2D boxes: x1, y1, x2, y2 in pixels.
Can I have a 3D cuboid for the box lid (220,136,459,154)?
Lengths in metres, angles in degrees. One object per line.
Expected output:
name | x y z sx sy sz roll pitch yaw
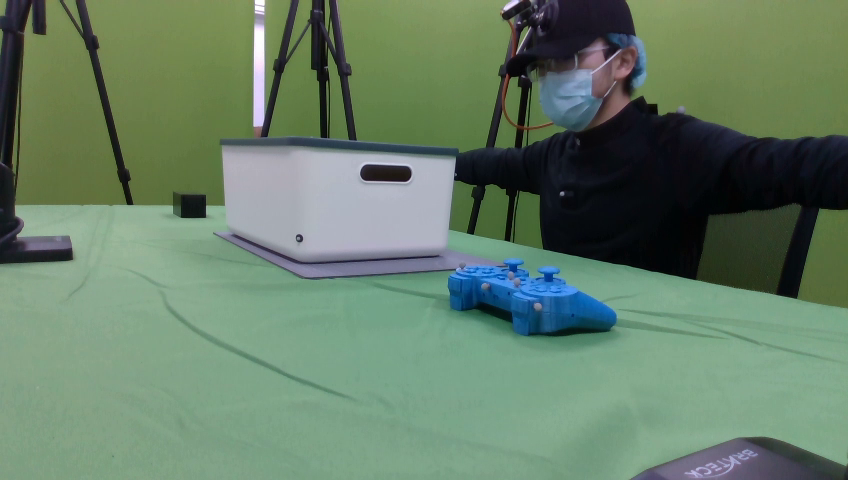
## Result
box lid | -0.144 -0.145 0.944 0.265 0.015 0.369 -2 9 -33

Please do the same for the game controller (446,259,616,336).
game controller | 0.091 0.048 0.562 0.097 0.051 0.154 -6 10 -32

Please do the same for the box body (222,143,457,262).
box body | -0.148 -0.073 0.956 0.255 0.160 0.362 -3 9 -33
